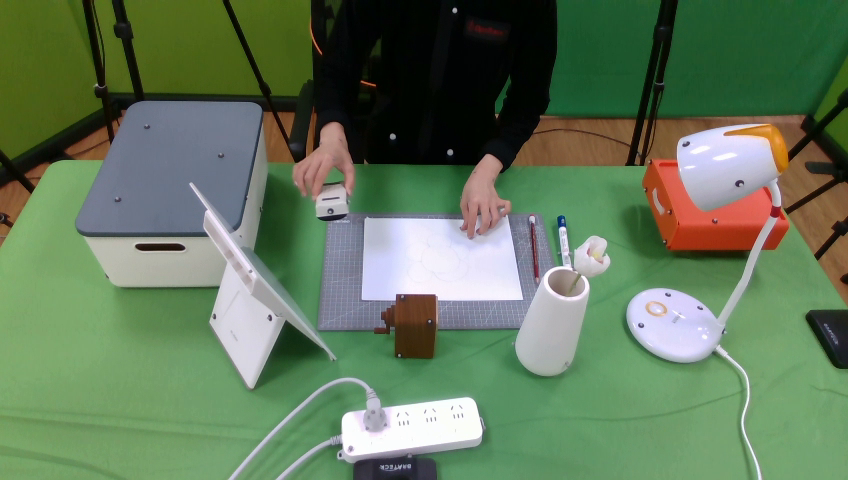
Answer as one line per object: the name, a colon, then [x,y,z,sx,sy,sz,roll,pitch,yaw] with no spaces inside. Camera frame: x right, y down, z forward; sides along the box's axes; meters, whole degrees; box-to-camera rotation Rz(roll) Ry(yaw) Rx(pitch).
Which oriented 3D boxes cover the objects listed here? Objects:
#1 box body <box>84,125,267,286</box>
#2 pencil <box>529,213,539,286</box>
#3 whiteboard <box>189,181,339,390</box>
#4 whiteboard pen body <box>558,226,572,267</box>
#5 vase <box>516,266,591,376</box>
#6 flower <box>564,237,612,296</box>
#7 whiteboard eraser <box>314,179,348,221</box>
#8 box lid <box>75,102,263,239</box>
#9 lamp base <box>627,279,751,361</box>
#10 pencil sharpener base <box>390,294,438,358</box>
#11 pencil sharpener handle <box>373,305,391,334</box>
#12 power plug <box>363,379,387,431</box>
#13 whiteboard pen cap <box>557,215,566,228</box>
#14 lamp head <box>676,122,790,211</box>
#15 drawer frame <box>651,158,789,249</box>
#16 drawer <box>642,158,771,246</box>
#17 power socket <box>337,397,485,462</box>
box body: [-0.446,-0.088,1.150,0.254,0.161,0.361,-1,46,-5]
pencil: [0.220,0.016,1.204,0.012,0.012,0.193,5,47,0]
whiteboard: [-0.292,0.096,0.929,0.144,0.307,0.216,-37,57,-10]
whiteboard pen body: [0.280,0.010,1.208,0.017,0.017,0.140,3,50,-1]
vase: [0.208,0.132,0.964,0.098,0.201,0.097,3,46,-3]
flower: [0.206,0.088,0.893,0.038,0.363,0.044,-17,67,-9]
whiteboard eraser: [-0.164,-0.070,1.070,0.055,0.042,0.112,-10,28,-3]
box lid: [-0.443,-0.138,1.094,0.263,0.015,0.369,-1,47,-5]
lamp base: [0.459,0.100,1.027,0.178,0.181,0.160,27,51,17]
pencil sharpener base: [-0.018,0.143,1.000,0.077,0.107,0.061,1,46,-2]
pencil sharpener handle: [-0.068,0.133,0.989,0.030,0.068,0.036,1,47,-2]
power plug: [-0.072,0.252,0.910,0.035,0.053,0.072,3,45,-1]
whiteboard pen cap: [0.284,-0.035,1.246,0.018,0.018,0.033,4,52,-1]
lamp head: [0.423,-0.104,0.819,0.122,0.113,0.112,-13,33,40]
drawer frame: [0.571,-0.075,1.214,0.214,0.083,0.200,0,46,-1]
drawer: [0.565,-0.076,1.211,0.212,0.073,0.193,2,45,-2]
power socket: [-0.018,0.285,0.915,0.227,0.033,0.071,-5,46,-8]
